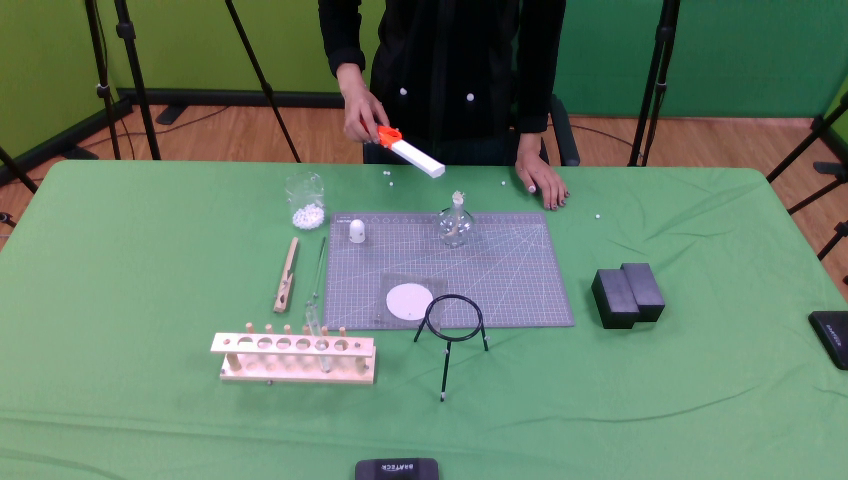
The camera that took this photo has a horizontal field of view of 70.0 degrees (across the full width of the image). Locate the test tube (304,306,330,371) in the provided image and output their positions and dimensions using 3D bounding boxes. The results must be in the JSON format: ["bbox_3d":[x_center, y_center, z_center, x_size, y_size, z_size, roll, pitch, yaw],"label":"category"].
[{"bbox_3d":[-0.162,0.153,0.925,0.017,0.151,0.017,-2,44,2],"label":"test tube"}]

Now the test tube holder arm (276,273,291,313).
[{"bbox_3d":[-0.253,0.093,1.094,0.010,0.015,0.087,28,39,-25],"label":"test tube holder arm"}]

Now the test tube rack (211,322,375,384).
[{"bbox_3d":[-0.203,0.176,0.969,0.242,0.085,0.066,3,46,-2],"label":"test tube rack"}]

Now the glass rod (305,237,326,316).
[{"bbox_3d":[-0.202,0.064,1.131,0.008,0.008,0.198,3,44,0],"label":"glass rod"}]

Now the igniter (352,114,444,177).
[{"bbox_3d":[-0.060,-0.191,1.189,0.057,0.025,0.275,-28,46,-27],"label":"igniter"}]

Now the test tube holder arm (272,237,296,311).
[{"bbox_3d":[-0.258,0.059,1.123,0.013,0.015,0.177,27,39,-25],"label":"test tube holder arm"}]

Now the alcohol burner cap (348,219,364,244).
[{"bbox_3d":[-0.134,-0.019,1.190,0.034,0.048,0.033,2,46,-2],"label":"alcohol burner cap"}]

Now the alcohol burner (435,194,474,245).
[{"bbox_3d":[0.061,-0.046,1.183,0.078,0.119,0.077,3,47,-3],"label":"alcohol burner"}]

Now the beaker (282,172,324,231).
[{"bbox_3d":[-0.234,-0.073,1.199,0.084,0.101,0.074,24,50,17],"label":"beaker"}]

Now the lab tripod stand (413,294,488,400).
[{"bbox_3d":[0.044,0.159,0.972,0.148,0.132,0.147,2,44,-2],"label":"lab tripod stand"}]

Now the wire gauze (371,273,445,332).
[{"bbox_3d":[-0.028,0.108,1.100,0.125,0.011,0.121,7,45,4],"label":"wire gauze"}]
